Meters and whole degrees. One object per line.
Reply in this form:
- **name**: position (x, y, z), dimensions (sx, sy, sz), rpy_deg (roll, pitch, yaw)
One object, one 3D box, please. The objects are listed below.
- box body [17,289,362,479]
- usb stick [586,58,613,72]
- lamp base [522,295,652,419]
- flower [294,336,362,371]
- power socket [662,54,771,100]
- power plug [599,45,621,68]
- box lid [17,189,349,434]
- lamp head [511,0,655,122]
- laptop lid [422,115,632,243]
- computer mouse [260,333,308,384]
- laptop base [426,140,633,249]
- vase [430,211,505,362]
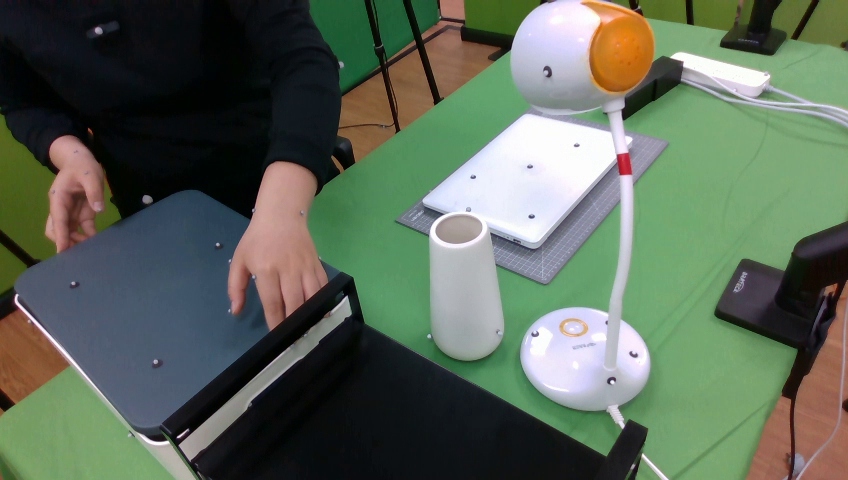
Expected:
- **box body**: position (-0.285, 0.123, 0.766), dimensions (0.361, 0.161, 0.255), rpy_deg (25, 49, 33)
- **usb stick**: position (0.401, -0.399, 1.380), dimensions (0.059, 0.027, 0.021), rpy_deg (1, 48, 20)
- **lamp base**: position (0.201, 0.095, 0.710), dimensions (0.161, 0.181, 0.177), rpy_deg (-16, 43, -10)
- **flower**: position (-0.232, 0.115, 0.833), dimensions (0.359, 0.038, 0.044), rpy_deg (11, 86, 34)
- **power socket**: position (0.615, -0.348, 1.284), dimensions (0.072, 0.033, 0.225), rpy_deg (-36, 48, -29)
- **power plug**: position (0.437, -0.421, 1.413), dimensions (0.053, 0.035, 0.072), rpy_deg (-18, 75, -47)
- **box lid**: position (-0.294, 0.055, 0.722), dimensions (0.368, 0.015, 0.264), rpy_deg (25, 49, 35)
- **lamp head**: position (0.155, -0.168, 0.564), dimensions (0.113, 0.113, 0.122), rpy_deg (-18, 23, -12)
- **laptop lid**: position (0.190, -0.126, 1.081), dimensions (0.239, 0.013, 0.358), rpy_deg (23, 48, 34)
- **computer mouse**: position (-0.160, 0.157, 0.791), dimensions (0.116, 0.041, 0.063), rpy_deg (26, 46, 23)
- **laptop base**: position (0.194, -0.117, 1.087), dimensions (0.233, 0.023, 0.355), rpy_deg (21, 47, 34)
- **vase**: position (0.053, 0.062, 0.758), dimensions (0.098, 0.201, 0.097), rpy_deg (-3, 40, 3)
